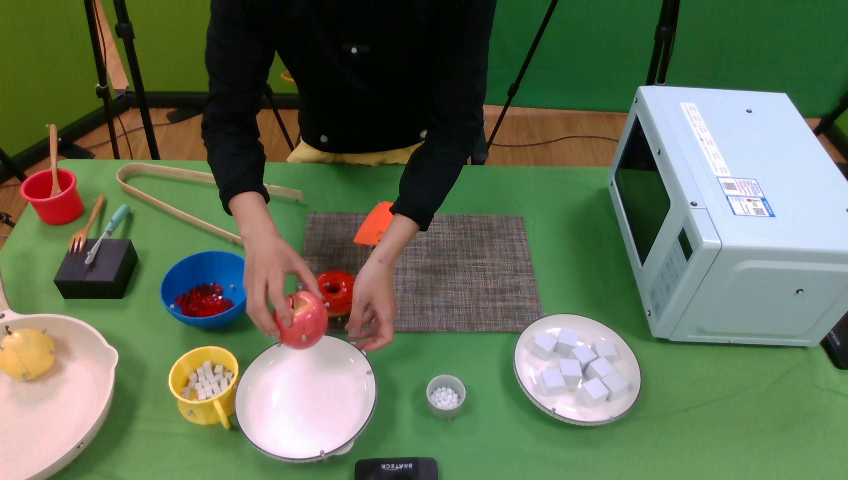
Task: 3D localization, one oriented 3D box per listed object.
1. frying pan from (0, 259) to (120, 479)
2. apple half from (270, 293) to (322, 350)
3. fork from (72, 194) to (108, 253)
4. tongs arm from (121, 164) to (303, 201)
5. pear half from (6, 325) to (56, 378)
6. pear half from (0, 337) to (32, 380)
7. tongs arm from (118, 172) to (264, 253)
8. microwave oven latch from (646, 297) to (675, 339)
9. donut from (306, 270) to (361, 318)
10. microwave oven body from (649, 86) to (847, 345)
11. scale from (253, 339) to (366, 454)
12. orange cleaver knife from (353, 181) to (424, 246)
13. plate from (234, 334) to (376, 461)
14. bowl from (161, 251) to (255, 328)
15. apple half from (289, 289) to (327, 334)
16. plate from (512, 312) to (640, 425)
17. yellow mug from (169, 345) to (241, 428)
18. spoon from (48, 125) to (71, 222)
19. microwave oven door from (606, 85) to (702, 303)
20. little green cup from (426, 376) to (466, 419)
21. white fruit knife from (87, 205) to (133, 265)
[{"bbox_3d":[-0.647,0.164,0.936,0.307,0.103,0.485,-19,58,-22],"label":"frying pan"},{"bbox_3d":[-0.190,0.123,0.868,0.080,0.075,0.053,33,52,30],"label":"apple half"},{"bbox_3d":[-0.634,-0.036,1.158,0.028,0.019,0.206,-7,32,-9],"label":"fork"},{"bbox_3d":[-0.444,-0.114,1.267,0.384,0.026,0.050,12,50,8],"label":"tongs arm"},{"bbox_3d":[-0.608,0.158,0.935,0.076,0.110,0.056,31,51,20],"label":"pear half"},{"bbox_3d":[-0.631,0.184,0.921,0.070,0.088,0.031,29,49,19],"label":"pear half"},{"bbox_3d":[-0.473,-0.055,1.211,0.386,0.028,0.028,23,56,18],"label":"tongs arm"},{"bbox_3d":[0.412,0.134,1.061,0.030,0.029,0.078,4,45,1],"label":"microwave oven latch"},{"bbox_3d":[-0.160,0.096,1.075,0.099,0.048,0.098,4,44,-4],"label":"donut"},{"bbox_3d":[0.567,-0.053,1.118,0.326,0.261,0.439,2,45,-1],"label":"microwave oven body"},{"bbox_3d":[-0.175,0.236,0.951,0.149,0.032,0.199,4,46,0],"label":"scale"},{"bbox_3d":[-0.070,-0.059,1.245,0.077,0.012,0.210,18,50,21],"label":"orange cleaver knife"},{"bbox_3d":[-0.174,0.235,0.907,0.209,0.038,0.208,2,46,-2],"label":"plate"},{"bbox_3d":[-0.362,0.098,1.040,0.151,0.077,0.150,2,45,-2],"label":"bowl"},{"bbox_3d":[-0.163,0.104,0.889,0.081,0.081,0.033,36,53,27],"label":"apple half"},{"bbox_3d":[0.246,0.213,0.999,0.208,0.039,0.206,2,46,-2],"label":"plate"},{"bbox_3d":[-0.322,0.230,0.922,0.100,0.064,0.130,-24,53,-25],"label":"yellow mug"},{"bbox_3d":[-0.718,-0.132,1.188,0.041,0.021,0.193,-3,90,-7],"label":"spoon"},{"bbox_3d":[0.422,-0.094,1.140,0.039,0.245,0.353,2,46,-1],"label":"microwave oven door"},{"bbox_3d":[0.033,0.248,0.950,0.061,0.039,0.061,3,46,-2],"label":"little green cup"},{"bbox_3d":[-0.584,-0.013,1.129,0.016,0.027,0.206,0,31,-5],"label":"white fruit knife"}]
